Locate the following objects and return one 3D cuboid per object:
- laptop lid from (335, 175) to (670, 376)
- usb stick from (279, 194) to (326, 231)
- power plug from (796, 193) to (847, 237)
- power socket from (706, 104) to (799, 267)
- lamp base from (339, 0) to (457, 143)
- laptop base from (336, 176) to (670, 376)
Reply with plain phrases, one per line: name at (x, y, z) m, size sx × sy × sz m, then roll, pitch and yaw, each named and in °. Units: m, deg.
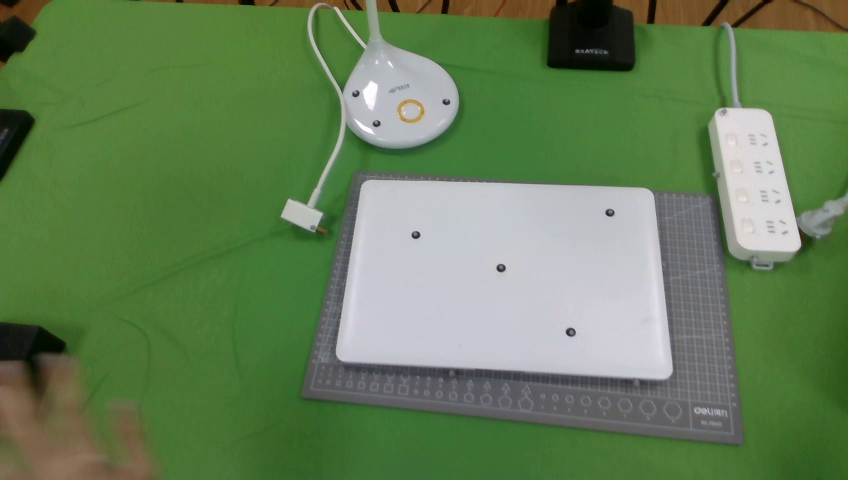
laptop lid at (0.087, 0.030, 0.682) m, size 0.356 × 0.013 × 0.240 m, roll 4°, pitch 64°, yaw 5°
usb stick at (-0.142, -0.031, 0.732) m, size 0.059 × 0.021 × 0.027 m, roll 29°, pitch 94°, yaw -8°
power plug at (0.459, -0.025, 0.692) m, size 0.073 × 0.053 × 0.035 m, roll -7°, pitch 55°, yaw -18°
power socket at (0.391, -0.075, 0.728) m, size 0.072 × 0.033 × 0.225 m, roll 4°, pitch 61°, yaw 4°
lamp base at (-0.047, -0.243, 0.762) m, size 0.160 × 0.182 × 0.177 m, roll -30°, pitch 61°, yaw -13°
laptop base at (0.088, 0.034, 0.693) m, size 0.354 × 0.023 × 0.233 m, roll 2°, pitch 64°, yaw 4°
